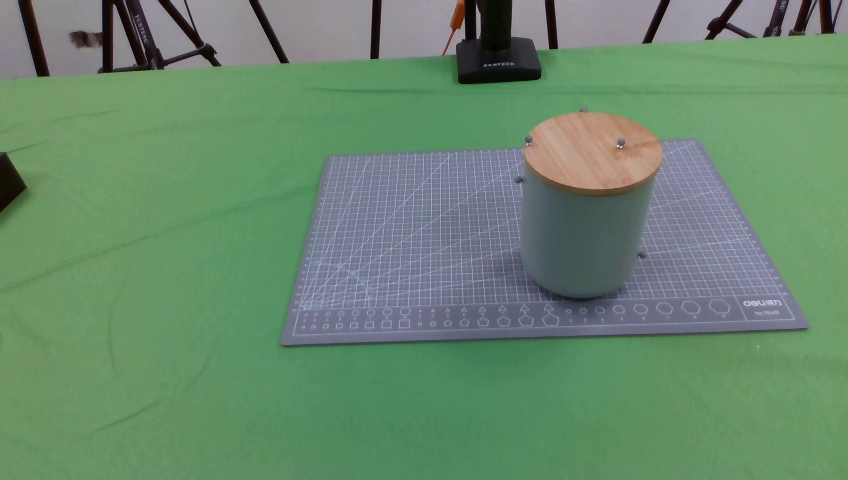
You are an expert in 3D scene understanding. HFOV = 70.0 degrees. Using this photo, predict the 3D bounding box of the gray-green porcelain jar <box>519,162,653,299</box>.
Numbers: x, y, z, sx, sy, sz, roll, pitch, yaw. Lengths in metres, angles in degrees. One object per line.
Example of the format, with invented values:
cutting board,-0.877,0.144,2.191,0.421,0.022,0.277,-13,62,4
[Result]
gray-green porcelain jar,0.137,-0.019,0.533,0.106,0.128,0.105,-3,41,3

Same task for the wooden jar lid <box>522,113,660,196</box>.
wooden jar lid,0.133,-0.066,0.492,0.108,0.021,0.107,-3,42,3
